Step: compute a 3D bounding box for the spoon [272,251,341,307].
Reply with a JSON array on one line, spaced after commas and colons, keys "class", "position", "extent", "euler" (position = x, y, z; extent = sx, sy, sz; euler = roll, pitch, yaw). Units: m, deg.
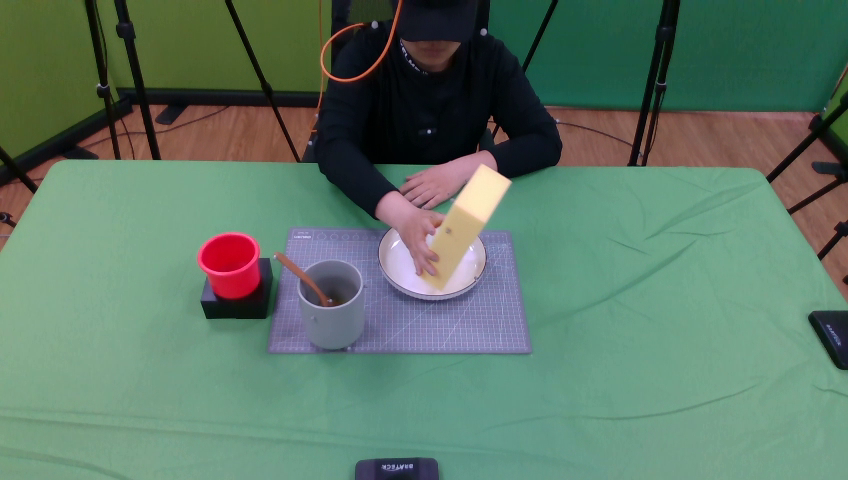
[{"class": "spoon", "position": [-0.180, 0.077, 0.982], "extent": [0.021, 0.195, 0.041], "euler": [-9, 46, 28]}]

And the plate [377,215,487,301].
[{"class": "plate", "position": [0.015, 0.037, 1.147], "extent": [0.208, 0.039, 0.206], "euler": [2, 46, -2]}]

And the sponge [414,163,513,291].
[{"class": "sponge", "position": [0.065, -0.018, 1.043], "extent": [0.061, 0.207, 0.118], "euler": [33, 48, 3]}]

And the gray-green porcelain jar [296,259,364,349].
[{"class": "gray-green porcelain jar", "position": [-0.152, 0.111, 1.003], "extent": [0.106, 0.127, 0.105], "euler": [2, 46, -2]}]
